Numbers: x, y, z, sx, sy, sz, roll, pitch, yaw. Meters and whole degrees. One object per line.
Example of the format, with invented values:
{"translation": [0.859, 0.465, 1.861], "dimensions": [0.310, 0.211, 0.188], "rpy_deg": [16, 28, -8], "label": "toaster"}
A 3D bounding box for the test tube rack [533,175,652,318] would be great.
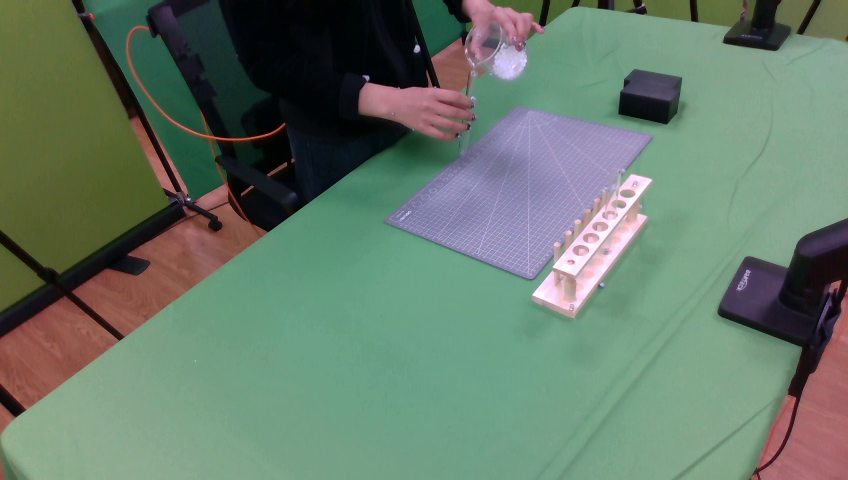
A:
{"translation": [0.251, -0.001, 0.889], "dimensions": [0.066, 0.085, 0.243], "rpy_deg": [22, 49, 33], "label": "test tube rack"}

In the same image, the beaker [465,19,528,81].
{"translation": [0.128, -0.322, 1.049], "dimensions": [0.073, 0.084, 0.101], "rpy_deg": [32, 12, 38], "label": "beaker"}

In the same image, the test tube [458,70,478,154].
{"translation": [0.077, -0.221, 1.055], "dimensions": [0.017, 0.151, 0.017], "rpy_deg": [5, 27, -2], "label": "test tube"}

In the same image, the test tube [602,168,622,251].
{"translation": [0.264, -0.039, 0.853], "dimensions": [0.017, 0.151, 0.017], "rpy_deg": [-5, 44, 6], "label": "test tube"}
